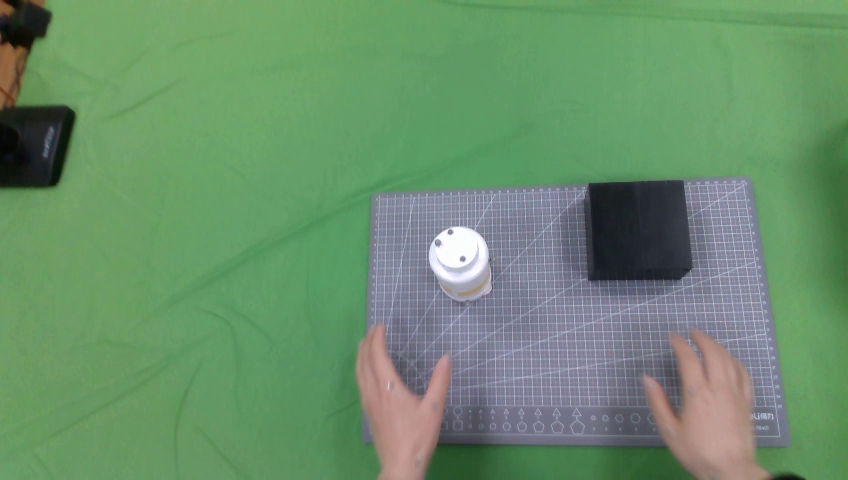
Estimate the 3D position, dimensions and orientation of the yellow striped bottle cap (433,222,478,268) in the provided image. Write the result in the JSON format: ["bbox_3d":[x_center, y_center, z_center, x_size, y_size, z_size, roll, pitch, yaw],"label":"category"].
[{"bbox_3d":[0.031,0.005,0.607,0.044,0.019,0.044,-3,76,10],"label":"yellow striped bottle cap"}]

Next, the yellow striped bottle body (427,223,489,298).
[{"bbox_3d":[0.038,0.021,0.656,0.063,0.121,0.062,-2,73,7],"label":"yellow striped bottle body"}]
